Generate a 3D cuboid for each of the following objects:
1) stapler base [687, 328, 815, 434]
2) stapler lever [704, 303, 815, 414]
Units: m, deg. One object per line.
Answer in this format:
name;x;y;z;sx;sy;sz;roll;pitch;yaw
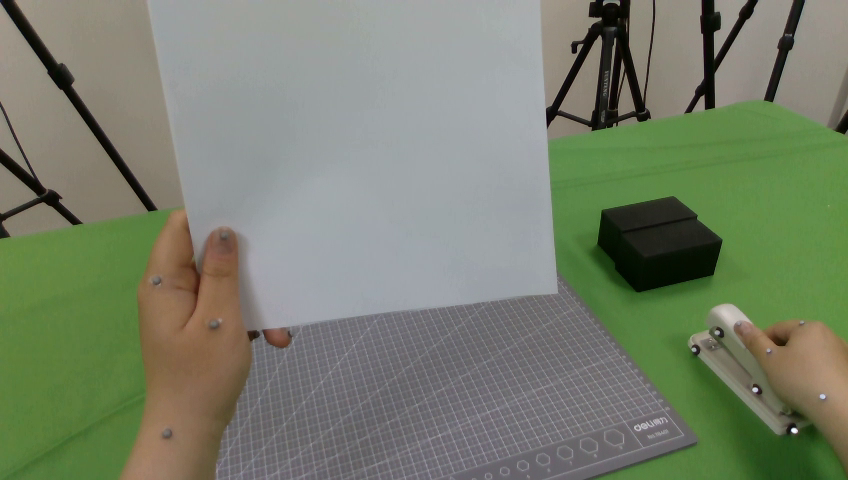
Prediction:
stapler base;0.305;0.123;0.571;0.041;0.024;0.129;-14;37;-13
stapler lever;0.305;0.104;0.556;0.027;0.040;0.116;-14;36;-13
